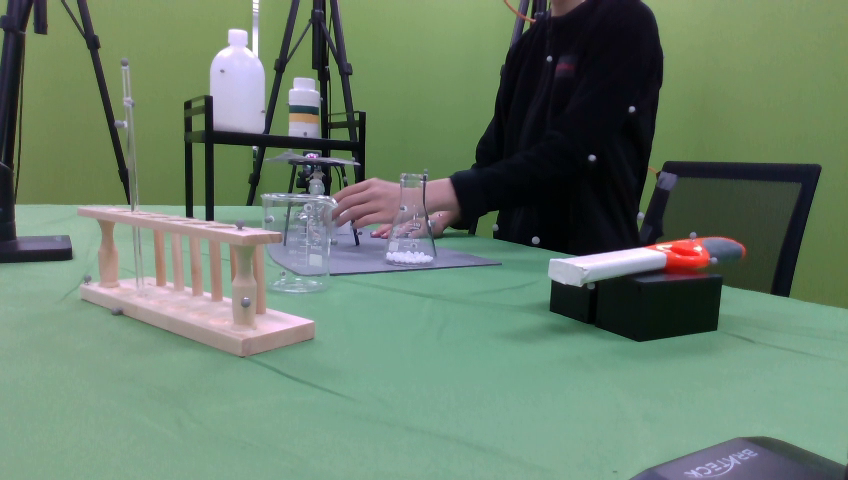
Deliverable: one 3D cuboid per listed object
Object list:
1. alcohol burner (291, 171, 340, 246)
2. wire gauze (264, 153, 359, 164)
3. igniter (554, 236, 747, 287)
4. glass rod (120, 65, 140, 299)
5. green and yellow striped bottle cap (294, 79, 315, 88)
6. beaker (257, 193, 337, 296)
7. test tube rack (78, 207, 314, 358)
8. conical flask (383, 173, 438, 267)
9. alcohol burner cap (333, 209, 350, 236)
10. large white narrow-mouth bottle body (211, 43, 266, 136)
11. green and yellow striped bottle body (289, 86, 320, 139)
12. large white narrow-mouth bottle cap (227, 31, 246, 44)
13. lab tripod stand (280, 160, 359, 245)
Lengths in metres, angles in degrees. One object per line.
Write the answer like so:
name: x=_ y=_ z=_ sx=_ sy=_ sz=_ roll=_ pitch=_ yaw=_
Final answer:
alcohol burner: x=-0.172 y=-0.050 z=0.962 sx=0.078 sy=0.119 sz=0.078 roll=1 pitch=5 yaw=0
wire gauze: x=-0.181 y=-0.129 z=0.969 sx=0.126 sy=0.011 sz=0.121 roll=-1 pitch=6 yaw=-27
igniter: x=0.221 y=0.017 z=0.558 sx=0.278 sy=0.025 sz=0.057 roll=-5 pitch=15 yaw=-39
glass rod: x=-0.249 y=-0.047 z=0.513 sx=0.008 sy=0.199 sz=0.008 roll=-1 pitch=4 yaw=0
green and yellow striped bottle cap: x=-0.248 y=-0.323 z=1.256 sx=0.045 sy=0.020 sz=0.045 roll=3 pitch=9 yaw=0
beaker: x=-0.130 y=0.004 z=0.628 sx=0.084 sy=0.100 sz=0.074 roll=5 pitch=8 yaw=15
test tube rack: x=-0.196 y=0.024 z=0.500 sx=0.241 sy=0.085 sz=0.067 roll=8 pitch=8 yaw=37
conical flask: x=-0.016 y=-0.028 z=0.808 sx=0.075 sy=0.122 sz=0.075 roll=2 pitch=8 yaw=0
alcohol burner cap: x=-0.151 y=-0.033 z=1.116 sx=0.034 sy=0.048 sz=0.034 roll=3 pitch=7 yaw=0
large white narrow-mouth bottle body: x=-0.361 y=-0.302 z=1.176 sx=0.102 sy=0.194 sz=0.102 roll=1 pitch=7 yaw=0
green and yellow striped bottle body: x=-0.250 y=-0.272 z=1.261 sx=0.063 sy=0.119 sz=0.063 roll=3 pitch=7 yaw=0
large white narrow-mouth bottle cap: x=-0.361 y=-0.389 z=1.165 sx=0.038 sy=0.024 sz=0.037 roll=1 pitch=7 yaw=0
lab tripod stand: x=-0.176 y=-0.062 z=0.973 sx=0.148 sy=0.131 sz=0.148 roll=1 pitch=7 yaw=0
